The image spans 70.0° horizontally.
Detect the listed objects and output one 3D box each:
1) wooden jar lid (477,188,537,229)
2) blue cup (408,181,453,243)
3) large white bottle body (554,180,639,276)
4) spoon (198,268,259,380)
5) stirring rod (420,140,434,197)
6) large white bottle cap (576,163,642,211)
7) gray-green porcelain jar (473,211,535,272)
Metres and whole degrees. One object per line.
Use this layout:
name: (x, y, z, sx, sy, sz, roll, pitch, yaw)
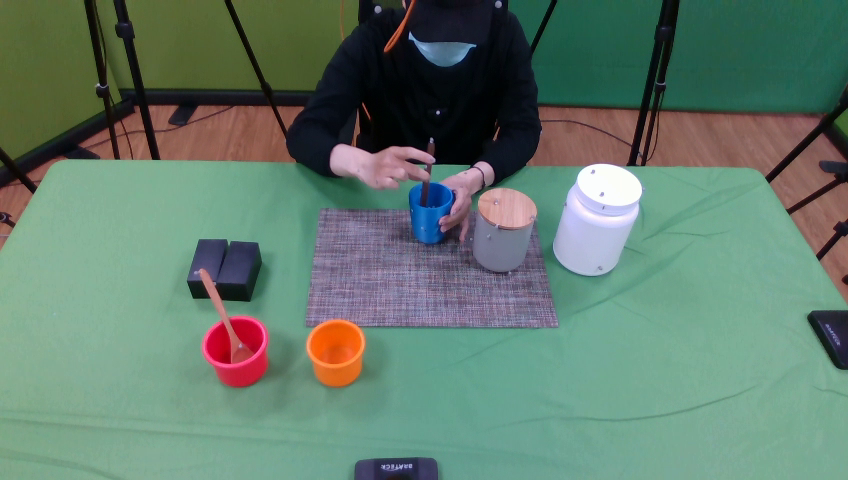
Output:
wooden jar lid: (0.149, -0.054, 1.094, 0.108, 0.021, 0.107, 4, 45, -4)
blue cup: (0.011, -0.049, 1.175, 0.092, 0.101, 0.092, 1, 43, 0)
large white bottle body: (0.326, -0.036, 1.141, 0.131, 0.185, 0.130, 2, 46, -2)
spoon: (-0.312, 0.132, 0.962, 0.041, 0.021, 0.194, -24, 96, -20)
stirring rod: (0.001, -0.103, 1.134, 0.014, 0.177, 0.006, -14, 35, -36)
large white bottle cap: (0.330, -0.096, 1.080, 0.115, 0.018, 0.114, 2, 46, -2)
gray-green porcelain jar: (0.147, -0.010, 1.139, 0.106, 0.127, 0.105, 2, 46, -2)
